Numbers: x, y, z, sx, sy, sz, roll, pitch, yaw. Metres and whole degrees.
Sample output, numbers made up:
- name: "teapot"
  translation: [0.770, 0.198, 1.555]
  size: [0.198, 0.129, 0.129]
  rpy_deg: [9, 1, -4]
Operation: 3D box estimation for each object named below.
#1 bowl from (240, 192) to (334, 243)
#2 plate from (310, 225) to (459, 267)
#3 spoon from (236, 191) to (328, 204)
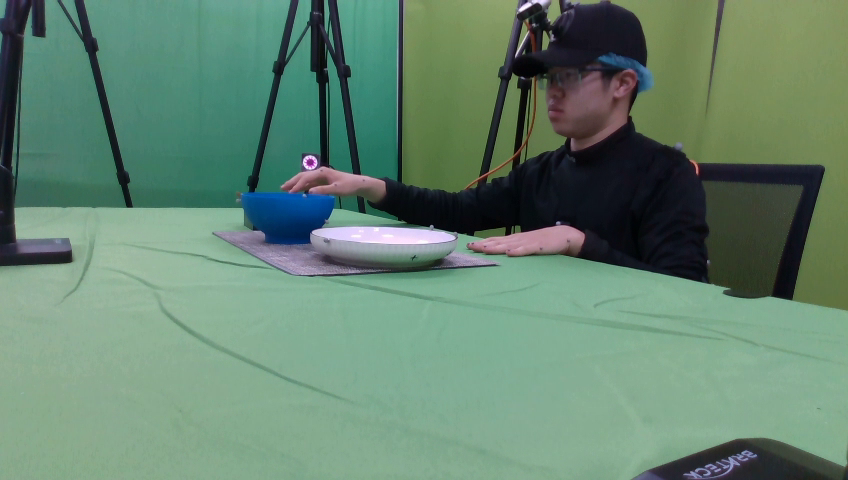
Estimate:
- name: "bowl"
  translation: [-0.223, -0.037, 0.992]
  size: [0.151, 0.077, 0.151]
  rpy_deg: [2, 7, 0]
- name: "plate"
  translation: [-0.055, 0.008, 0.851]
  size: [0.208, 0.039, 0.207]
  rpy_deg: [2, 7, 0]
- name: "spoon"
  translation: [-0.282, -0.085, 1.222]
  size: [0.195, 0.021, 0.041]
  rpy_deg: [-1, 6, -35]
